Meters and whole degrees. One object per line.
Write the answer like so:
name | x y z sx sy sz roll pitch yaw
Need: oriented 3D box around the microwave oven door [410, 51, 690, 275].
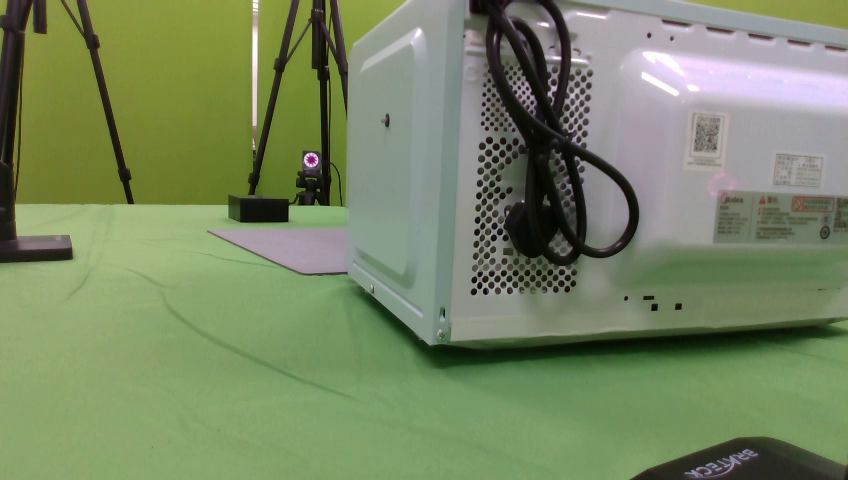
microwave oven door | 0.162 -0.084 0.722 0.357 0.243 0.039 0 7 -20

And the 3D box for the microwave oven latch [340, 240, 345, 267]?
microwave oven latch | -0.052 0.016 0.662 0.079 0.029 0.030 1 7 -18

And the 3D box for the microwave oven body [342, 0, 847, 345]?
microwave oven body | 0.169 -0.059 0.573 0.444 0.260 0.324 1 7 -20
